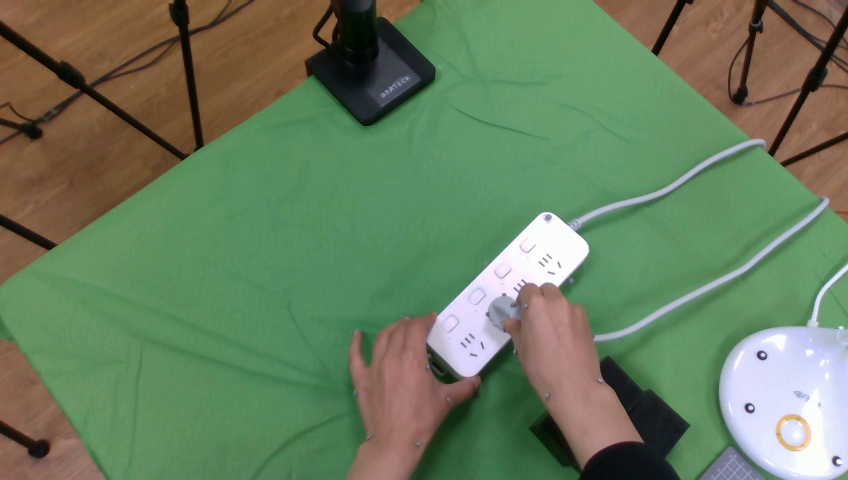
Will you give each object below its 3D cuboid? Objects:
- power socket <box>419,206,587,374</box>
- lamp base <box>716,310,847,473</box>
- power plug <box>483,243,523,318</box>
[{"bbox_3d":[0.088,0.051,0.659,0.226,0.033,0.072,-43,79,-17],"label":"power socket"},{"bbox_3d":[0.397,0.124,0.576,0.160,0.181,0.178,20,67,4],"label":"lamp base"},{"bbox_3d":[0.085,0.046,0.626,0.035,0.052,0.072,32,66,-16],"label":"power plug"}]
